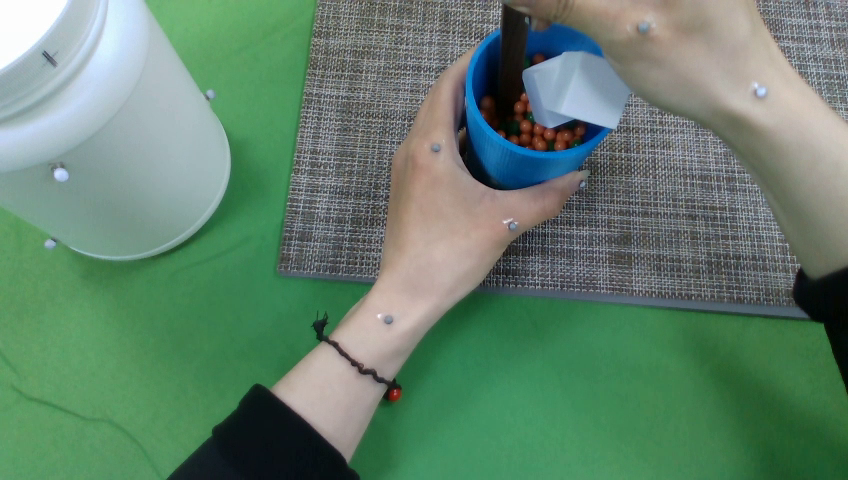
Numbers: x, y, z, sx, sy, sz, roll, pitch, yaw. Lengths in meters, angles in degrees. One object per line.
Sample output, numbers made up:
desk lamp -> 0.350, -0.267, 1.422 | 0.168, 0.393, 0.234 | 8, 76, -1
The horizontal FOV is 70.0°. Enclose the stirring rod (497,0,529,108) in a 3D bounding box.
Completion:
stirring rod -> 0.044, -0.111, 0.295 | 0.014, 0.177, 0.006 | -18, 72, 0

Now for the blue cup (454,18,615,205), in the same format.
blue cup -> 0.060, -0.067, 0.369 | 0.092, 0.101, 0.092 | 0, 72, 2

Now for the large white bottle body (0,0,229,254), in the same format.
large white bottle body -> -0.196, -0.078, 0.328 | 0.130, 0.185, 0.130 | 0, 72, 0

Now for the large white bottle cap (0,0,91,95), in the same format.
large white bottle cap -> -0.197, -0.105, 0.248 | 0.115, 0.018, 0.114 | 0, 72, 0
